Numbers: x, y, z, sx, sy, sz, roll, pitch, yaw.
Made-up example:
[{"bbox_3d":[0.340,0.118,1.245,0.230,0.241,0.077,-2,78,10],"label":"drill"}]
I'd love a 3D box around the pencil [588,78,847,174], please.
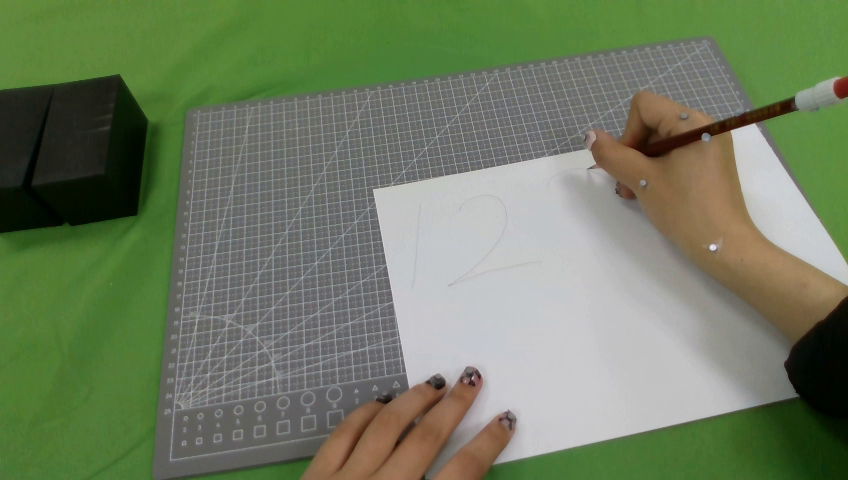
[{"bbox_3d":[0.160,-0.060,0.363,0.012,0.193,0.012,3,83,-23],"label":"pencil"}]
